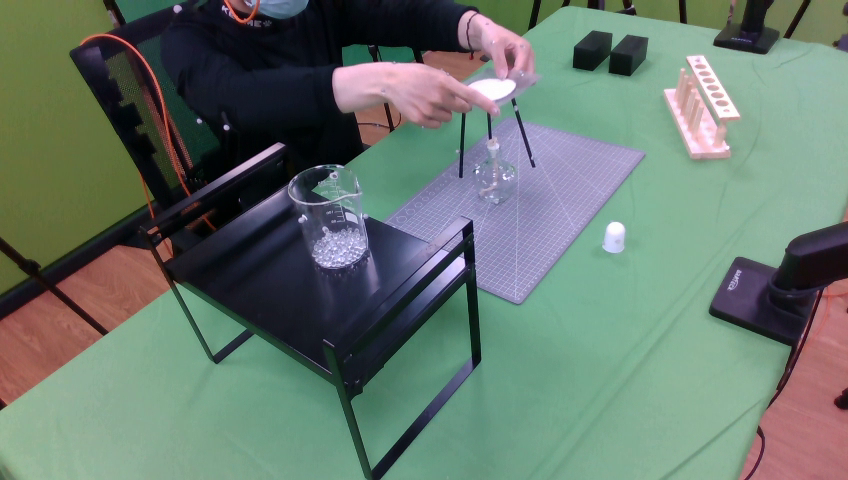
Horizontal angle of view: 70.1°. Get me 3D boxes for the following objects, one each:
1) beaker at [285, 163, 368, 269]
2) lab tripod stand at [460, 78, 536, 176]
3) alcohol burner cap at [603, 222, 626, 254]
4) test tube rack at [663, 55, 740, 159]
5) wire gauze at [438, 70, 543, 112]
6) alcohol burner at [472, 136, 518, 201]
[{"bbox_3d":[-0.102,-0.024,0.676,0.083,0.101,0.074,8,44,17],"label":"beaker"},{"bbox_3d":[0.110,-0.188,0.990,0.148,0.132,0.147,-8,36,7],"label":"lab tripod stand"},{"bbox_3d":[0.291,-0.006,0.921,0.034,0.048,0.033,-4,40,4],"label":"alcohol burner cap"},{"bbox_3d":[0.518,-0.256,1.144,0.066,0.085,0.241,-1,41,8],"label":"test tube rack"},{"bbox_3d":[0.103,-0.239,0.945,0.122,0.011,0.124,-33,38,-26],"label":"wire gauze"},{"bbox_3d":[0.121,-0.125,1.023,0.078,0.119,0.077,-3,42,3],"label":"alcohol burner"}]
